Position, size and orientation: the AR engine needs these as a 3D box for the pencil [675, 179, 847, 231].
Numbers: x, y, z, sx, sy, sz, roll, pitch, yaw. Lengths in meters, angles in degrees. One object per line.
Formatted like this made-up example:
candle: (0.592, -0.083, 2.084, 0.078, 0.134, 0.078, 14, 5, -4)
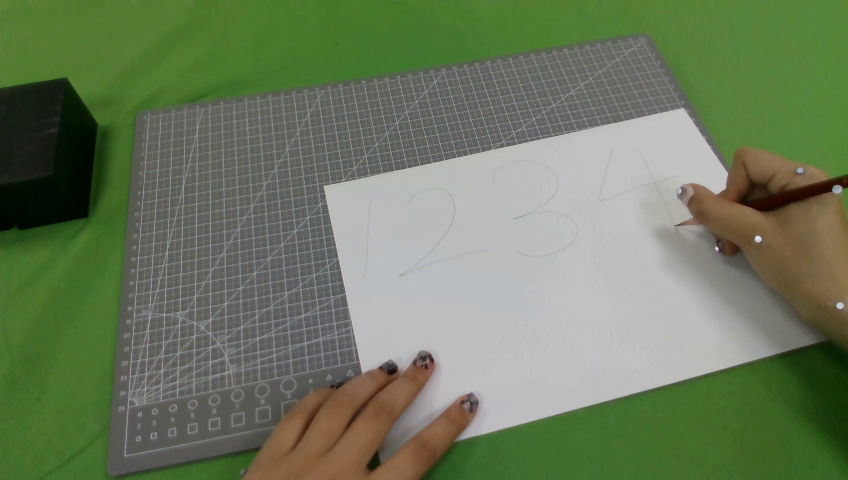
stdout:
pencil: (0.228, -0.027, 0.351, 0.012, 0.193, 0.012, 8, 74, -29)
